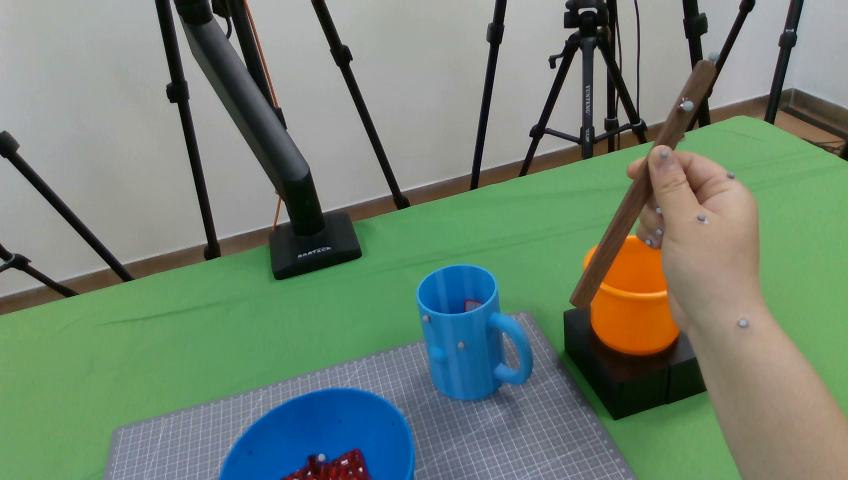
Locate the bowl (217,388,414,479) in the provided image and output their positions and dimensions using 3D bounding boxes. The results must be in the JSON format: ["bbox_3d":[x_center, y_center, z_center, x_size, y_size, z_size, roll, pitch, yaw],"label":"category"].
[{"bbox_3d":[-0.076,0.199,0.475,0.151,0.077,0.150,-7,33,5],"label":"bowl"}]

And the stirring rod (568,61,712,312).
[{"bbox_3d":[0.138,-0.033,0.389,0.014,0.176,0.006,25,6,-19],"label":"stirring rod"}]

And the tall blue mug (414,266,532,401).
[{"bbox_3d":[0.051,0.090,0.577,0.107,0.109,0.077,0,34,15],"label":"tall blue mug"}]
